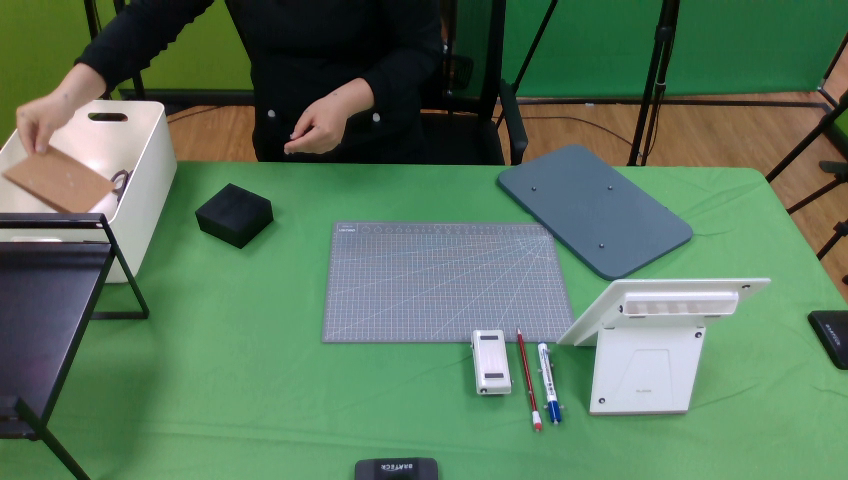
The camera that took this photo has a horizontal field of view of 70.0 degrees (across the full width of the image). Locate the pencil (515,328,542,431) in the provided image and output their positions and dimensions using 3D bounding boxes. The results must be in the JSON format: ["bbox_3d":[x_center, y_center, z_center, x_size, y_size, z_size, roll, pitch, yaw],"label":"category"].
[{"bbox_3d":[0.169,0.224,1.002,0.012,0.012,0.192,-1,46,-6],"label":"pencil"}]

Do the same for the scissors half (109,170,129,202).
[{"bbox_3d":[-0.618,-0.077,1.222,0.040,0.013,0.174,-14,52,-9],"label":"scissors half"}]

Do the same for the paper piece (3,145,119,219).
[{"bbox_3d":[-0.622,-0.102,1.049,0.136,0.004,0.135,33,25,-15],"label":"paper piece"}]

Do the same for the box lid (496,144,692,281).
[{"bbox_3d":[0.360,-0.074,1.305,0.263,0.015,0.369,-24,52,-25],"label":"box lid"}]

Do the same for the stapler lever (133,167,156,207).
[{"bbox_3d":[-0.559,-0.114,1.213,0.027,0.040,0.117,0,44,-16],"label":"stapler lever"}]

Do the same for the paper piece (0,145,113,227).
[{"bbox_3d":[-0.635,-0.088,1.055,0.008,0.136,0.137,-28,24,26],"label":"paper piece"}]

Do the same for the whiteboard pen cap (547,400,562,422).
[{"bbox_3d":[0.205,0.269,0.956,0.018,0.018,0.033,0,47,-5],"label":"whiteboard pen cap"}]

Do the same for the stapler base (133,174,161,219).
[{"bbox_3d":[-0.562,-0.094,1.229,0.041,0.024,0.129,0,44,-16],"label":"stapler base"}]

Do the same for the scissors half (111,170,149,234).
[{"bbox_3d":[-0.597,-0.078,1.223,0.040,0.013,0.174,7,51,1],"label":"scissors half"}]

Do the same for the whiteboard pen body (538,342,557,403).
[{"bbox_3d":[0.205,0.228,0.997,0.017,0.017,0.140,1,47,-3],"label":"whiteboard pen body"}]

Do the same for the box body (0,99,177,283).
[{"bbox_3d":[-0.639,-0.095,1.140,0.254,0.161,0.361,0,46,-4],"label":"box body"}]

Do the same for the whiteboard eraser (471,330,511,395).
[{"bbox_3d":[0.110,0.202,0.998,0.055,0.042,0.112,1,46,-5],"label":"whiteboard eraser"}]

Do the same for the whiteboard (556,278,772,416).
[{"bbox_3d":[0.347,0.174,0.903,0.217,0.306,0.143,1,65,-4],"label":"whiteboard"}]
